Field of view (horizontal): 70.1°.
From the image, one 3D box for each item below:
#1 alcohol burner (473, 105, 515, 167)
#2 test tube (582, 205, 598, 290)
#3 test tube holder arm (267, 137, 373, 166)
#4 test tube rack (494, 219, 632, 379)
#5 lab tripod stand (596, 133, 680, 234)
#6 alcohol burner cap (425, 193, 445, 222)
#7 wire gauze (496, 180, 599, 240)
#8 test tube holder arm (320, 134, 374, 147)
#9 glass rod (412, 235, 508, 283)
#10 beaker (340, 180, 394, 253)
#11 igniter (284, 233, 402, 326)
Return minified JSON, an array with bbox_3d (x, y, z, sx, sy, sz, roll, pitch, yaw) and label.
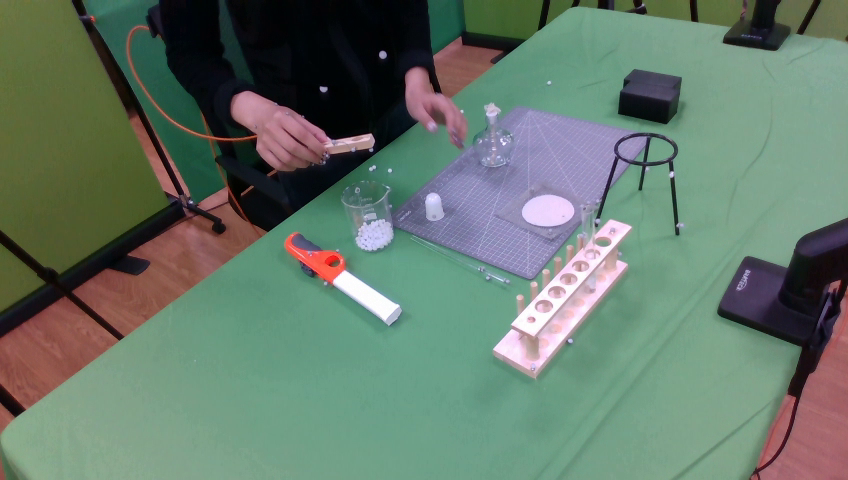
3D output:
[{"bbox_3d":[0.128,-0.196,1.116,0.078,0.119,0.077,-4,40,4],"label":"alcohol burner"},{"bbox_3d":[0.220,0.014,0.798,0.017,0.151,0.017,-9,43,9],"label":"test tube"},{"bbox_3d":[-0.155,-0.129,0.881,0.177,0.015,0.013,-7,36,22],"label":"test tube holder arm"},{"bbox_3d":[0.191,0.068,0.818,0.066,0.085,0.243,25,51,35],"label":"test tube rack"},{"bbox_3d":[0.338,-0.091,0.940,0.148,0.132,0.147,-7,39,6],"label":"lab tripod stand"},{"bbox_3d":[0.017,-0.058,1.029,0.034,0.048,0.033,-6,40,5],"label":"alcohol burner cap"},{"bbox_3d":[0.206,-0.050,1.012,0.125,0.011,0.120,-34,45,-26],"label":"wire gauze"},{"bbox_3d":[-0.112,-0.137,0.868,0.087,0.015,0.010,-7,36,23],"label":"test tube holder arm"},{"bbox_3d":[0.051,0.028,0.951,0.198,0.008,0.008,25,52,37],"label":"glass rod"},{"bbox_3d":[-0.087,-0.037,0.985,0.084,0.101,0.073,-18,41,-11],"label":"beaker"},{"bbox_3d":[-0.136,0.054,0.942,0.274,0.025,0.057,30,63,37],"label":"igniter"}]
